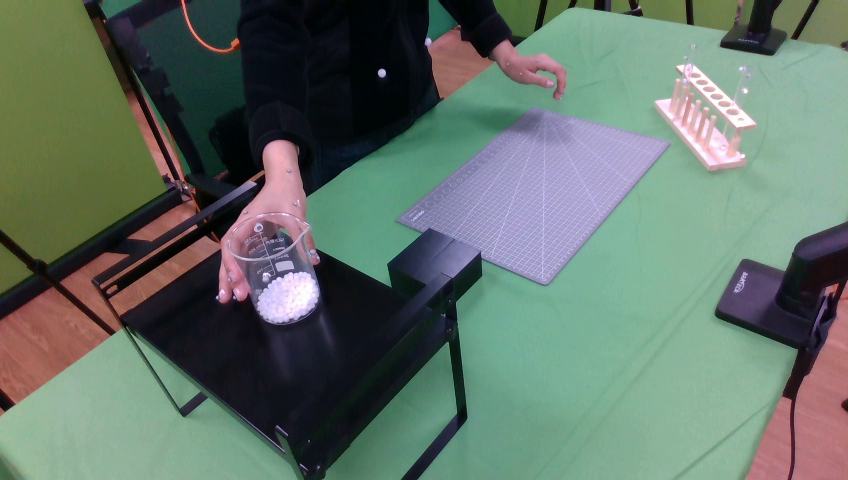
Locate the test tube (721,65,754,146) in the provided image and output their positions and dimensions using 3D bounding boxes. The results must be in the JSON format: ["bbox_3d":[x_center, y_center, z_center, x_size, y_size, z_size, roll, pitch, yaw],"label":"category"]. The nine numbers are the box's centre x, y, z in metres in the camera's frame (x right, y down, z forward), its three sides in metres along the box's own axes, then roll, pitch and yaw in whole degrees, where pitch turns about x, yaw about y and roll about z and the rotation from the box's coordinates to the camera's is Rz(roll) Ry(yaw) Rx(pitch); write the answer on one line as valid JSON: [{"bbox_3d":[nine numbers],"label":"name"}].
[{"bbox_3d":[0.533,-0.226,1.032,0.017,0.151,0.017,-2,40,2],"label":"test tube"}]

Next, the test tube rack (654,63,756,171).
[{"bbox_3d":[0.510,-0.233,1.120,0.067,0.085,0.241,-8,41,-1],"label":"test tube rack"}]

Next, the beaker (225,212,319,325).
[{"bbox_3d":[-0.149,0.031,0.625,0.084,0.100,0.073,-18,42,-14],"label":"beaker"}]

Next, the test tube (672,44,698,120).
[{"bbox_3d":[0.484,-0.291,1.122,0.017,0.151,0.017,-2,41,2],"label":"test tube"}]
